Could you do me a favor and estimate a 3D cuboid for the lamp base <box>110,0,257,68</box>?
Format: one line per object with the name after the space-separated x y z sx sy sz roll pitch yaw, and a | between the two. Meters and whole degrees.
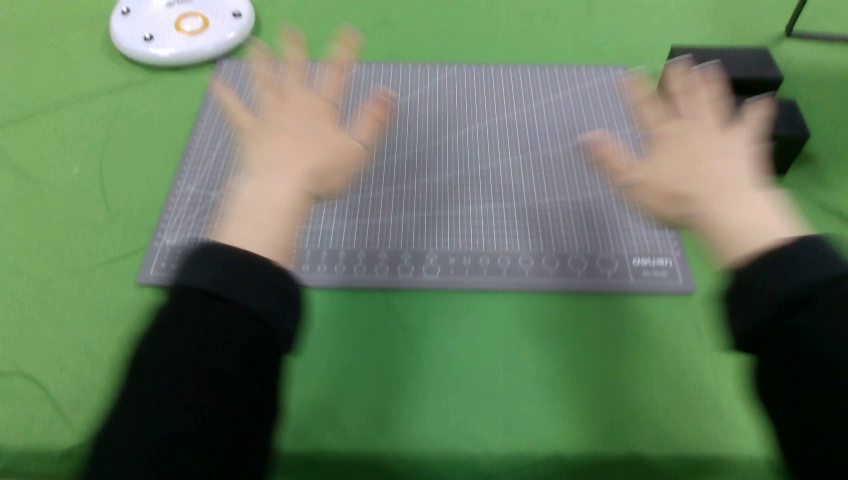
-0.282 -0.305 0.642 0.160 0.182 0.177 -34 57 -25 | lamp base
